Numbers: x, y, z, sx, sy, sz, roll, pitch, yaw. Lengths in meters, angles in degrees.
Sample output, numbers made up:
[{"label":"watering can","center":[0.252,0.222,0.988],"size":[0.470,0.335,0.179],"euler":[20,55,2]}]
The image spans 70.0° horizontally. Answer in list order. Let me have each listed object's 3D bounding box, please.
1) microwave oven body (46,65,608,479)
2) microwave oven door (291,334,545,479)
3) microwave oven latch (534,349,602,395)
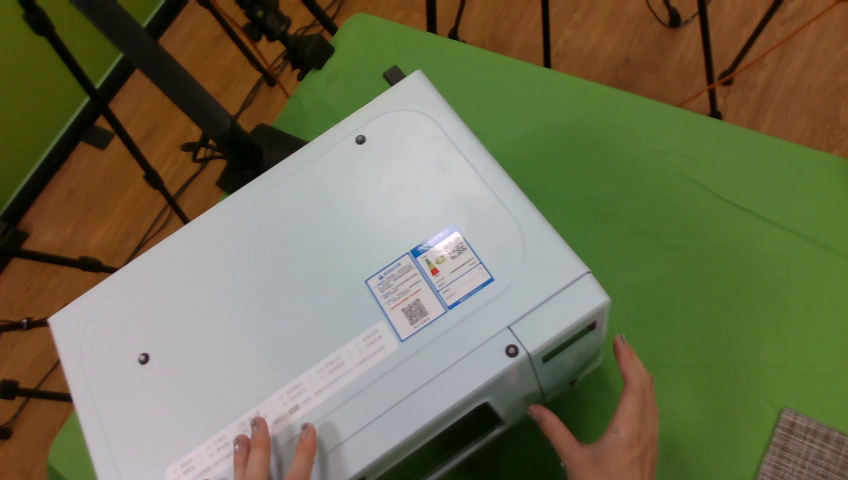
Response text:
[{"label":"microwave oven body","center":[-0.087,0.094,0.641],"size":[0.442,0.262,0.323],"euler":[-35,64,-1]},{"label":"microwave oven door","center":[-0.047,0.222,0.571],"size":[0.356,0.246,0.039],"euler":[-35,63,-2]},{"label":"microwave oven latch","center":[0.158,0.138,0.669],"size":[0.079,0.030,0.030],"euler":[-33,64,0]}]
